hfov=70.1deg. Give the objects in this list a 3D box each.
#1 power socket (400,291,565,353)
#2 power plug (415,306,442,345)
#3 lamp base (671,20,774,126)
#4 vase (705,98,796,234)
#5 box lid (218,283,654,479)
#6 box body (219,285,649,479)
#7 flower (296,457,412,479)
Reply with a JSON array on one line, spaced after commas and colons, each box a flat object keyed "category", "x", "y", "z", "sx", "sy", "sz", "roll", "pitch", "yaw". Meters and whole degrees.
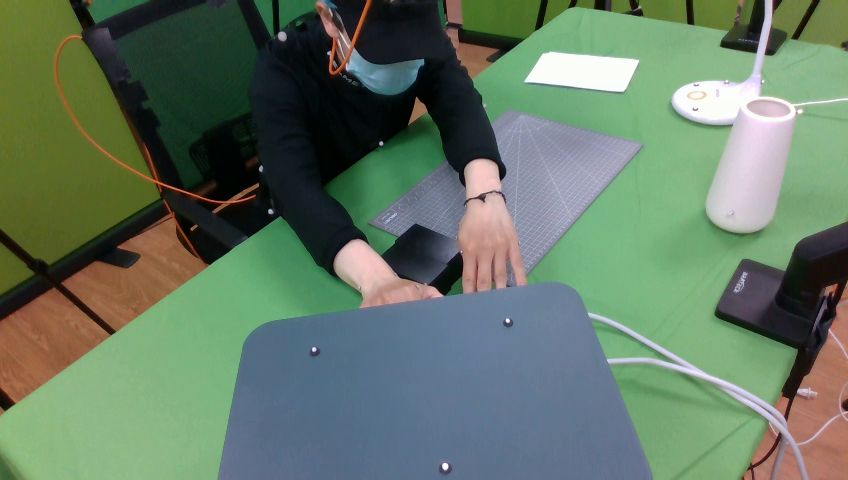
[{"category": "power socket", "x": 0.079, "y": 0.111, "z": 0.823, "sx": 0.227, "sy": 0.033, "sz": 0.072, "roll": -5, "pitch": 41, "yaw": 2}, {"category": "power plug", "x": 0.005, "y": 0.118, "z": 0.779, "sx": 0.035, "sy": 0.053, "sz": 0.072, "roll": -1, "pitch": 44, "yaw": 5}, {"category": "lamp base", "x": 0.581, "y": -0.332, "z": 1.154, "sx": 0.179, "sy": 0.181, "sz": 0.160, "roll": 2, "pitch": 41, "yaw": 7}, {"category": "vase", "x": 0.480, "y": -0.103, "z": 0.889, "sx": 0.098, "sy": 0.201, "sz": 0.097, "roll": -4, "pitch": 42, "yaw": 4}, {"category": "box lid", "x": -0.004, "y": 0.154, "z": 0.571, "sx": 0.372, "sy": 0.015, "sz": 0.261, "roll": -8, "pitch": 40, "yaw": -1}, {"category": "box body", "x": 0.005, "y": 0.210, "z": 0.618, "sx": 0.364, "sy": 0.161, "sz": 0.252, "roll": -8, "pitch": 40, "yaw": -1}, {"category": "flower", "x": 0.017, "y": 0.270, "z": 0.655, "sx": 0.360, "sy": 0.038, "sz": 0.044, "roll": 3, "pitch": 18, "yaw": 21}]
